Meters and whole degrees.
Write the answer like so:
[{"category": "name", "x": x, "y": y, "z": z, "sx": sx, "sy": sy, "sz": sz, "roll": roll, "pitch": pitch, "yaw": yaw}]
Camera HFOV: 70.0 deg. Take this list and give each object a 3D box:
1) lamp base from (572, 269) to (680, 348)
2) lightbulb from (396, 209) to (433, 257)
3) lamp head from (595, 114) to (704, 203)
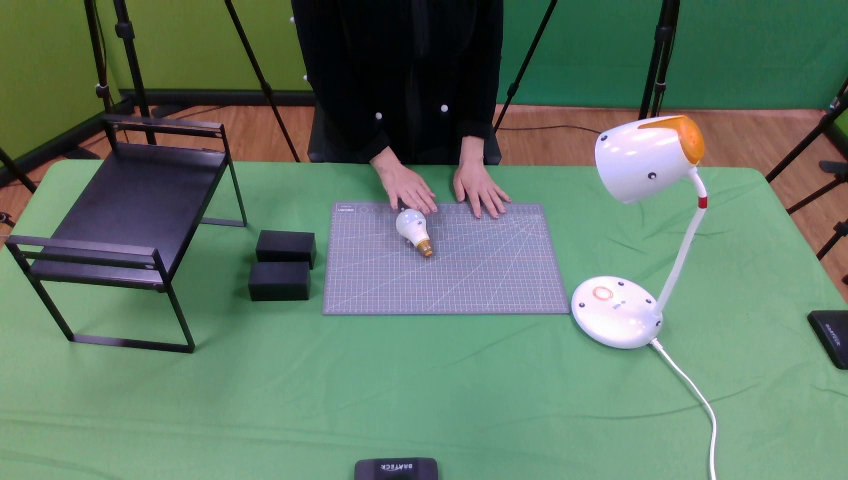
[{"category": "lamp base", "x": 0.361, "y": 0.080, "z": 1.035, "sx": 0.160, "sy": 0.181, "sz": 0.178, "roll": -34, "pitch": 59, "yaw": -31}, {"category": "lightbulb", "x": -0.015, "y": -0.013, "z": 1.186, "sx": 0.059, "sy": 0.060, "sz": 0.107, "roll": -21, "pitch": 66, "yaw": -22}, {"category": "lamp head", "x": 0.316, "y": -0.116, "z": 0.827, "sx": 0.122, "sy": 0.113, "sz": 0.112, "roll": -15, "pitch": 28, "yaw": 45}]
